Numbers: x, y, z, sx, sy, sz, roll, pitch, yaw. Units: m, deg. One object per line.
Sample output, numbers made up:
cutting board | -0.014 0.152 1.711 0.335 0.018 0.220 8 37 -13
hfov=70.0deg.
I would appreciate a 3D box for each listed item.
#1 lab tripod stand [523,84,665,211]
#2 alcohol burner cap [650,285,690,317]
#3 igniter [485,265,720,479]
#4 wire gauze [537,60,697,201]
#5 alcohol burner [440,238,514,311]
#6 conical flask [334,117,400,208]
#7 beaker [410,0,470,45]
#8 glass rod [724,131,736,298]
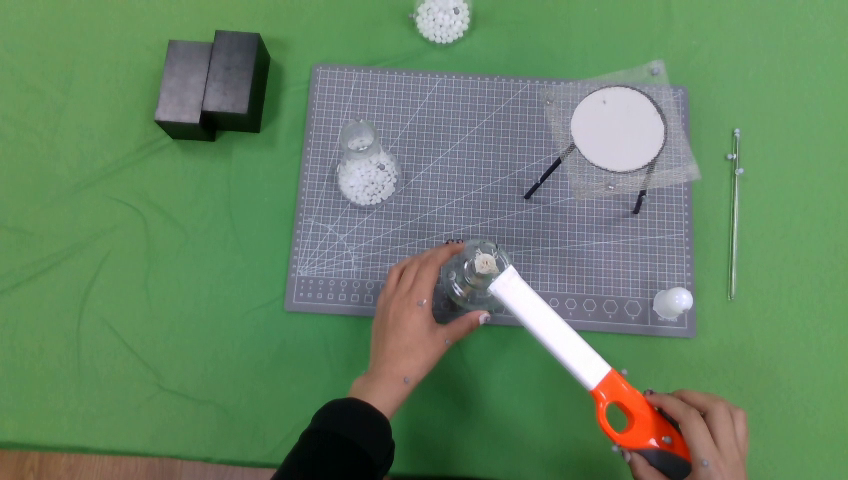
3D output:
lab tripod stand | 0.181 -0.090 0.637 0.148 0.132 0.147 0 79 1
alcohol burner cap | 0.266 0.063 0.648 0.034 0.048 0.033 0 77 -1
igniter | 0.161 0.131 0.540 0.057 0.025 0.276 -43 85 -14
wire gauze | 0.181 -0.103 0.570 0.125 0.011 0.121 -12 78 -3
alcohol burner | 0.056 0.032 0.618 0.078 0.119 0.077 0 77 -2
conical flask | -0.065 -0.085 0.640 0.075 0.122 0.075 0 76 0
beaker | 0.021 -0.282 0.701 0.084 0.100 0.073 -37 79 -9
glass rod | 0.349 -0.032 0.691 0.008 0.008 0.199 8 77 2
